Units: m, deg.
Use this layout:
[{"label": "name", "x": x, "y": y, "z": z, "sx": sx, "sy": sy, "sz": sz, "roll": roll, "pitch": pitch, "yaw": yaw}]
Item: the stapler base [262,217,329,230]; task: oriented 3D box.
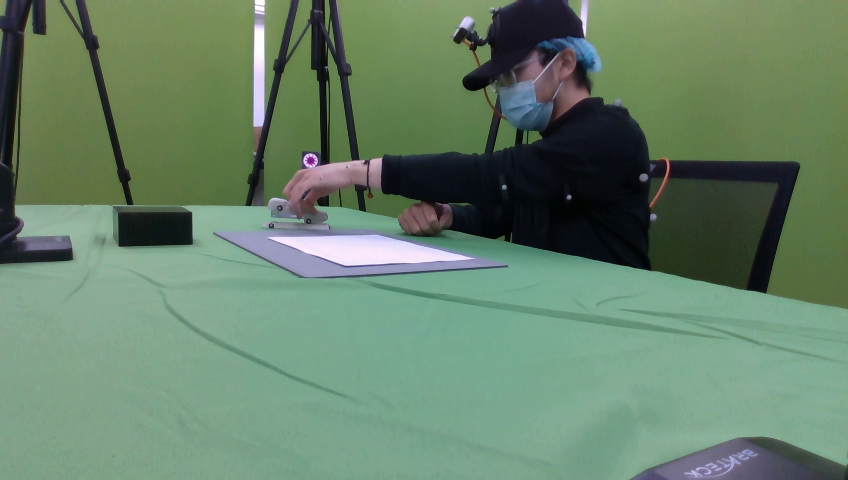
[{"label": "stapler base", "x": -0.253, "y": -0.036, "z": 1.201, "sx": 0.131, "sy": 0.024, "sz": 0.041, "roll": 3, "pitch": 10, "yaw": -8}]

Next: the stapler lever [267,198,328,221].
[{"label": "stapler lever", "x": -0.250, "y": -0.061, "z": 1.198, "sx": 0.118, "sy": 0.040, "sz": 0.027, "roll": 3, "pitch": 10, "yaw": -9}]
